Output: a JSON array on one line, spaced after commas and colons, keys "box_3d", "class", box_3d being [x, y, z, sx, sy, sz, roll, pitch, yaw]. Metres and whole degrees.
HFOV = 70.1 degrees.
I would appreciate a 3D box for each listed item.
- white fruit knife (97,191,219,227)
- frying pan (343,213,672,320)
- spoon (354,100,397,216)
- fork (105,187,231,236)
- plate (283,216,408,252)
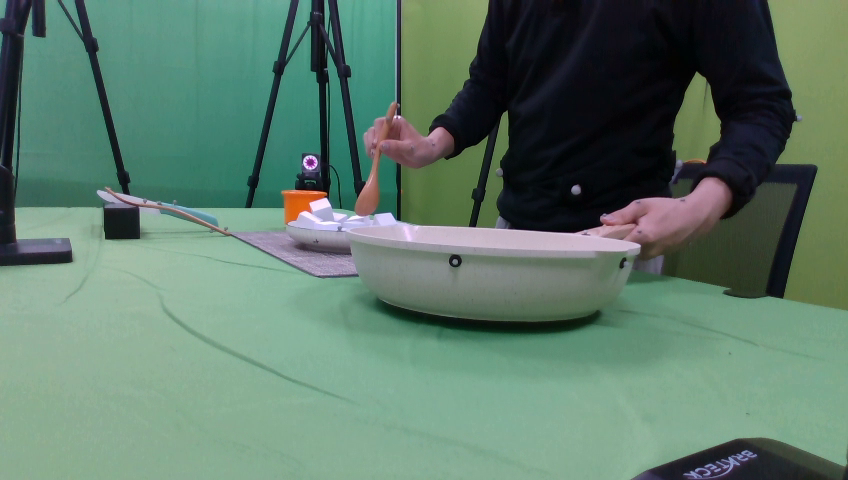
[{"box_3d": [-0.468, -0.056, 1.079, 0.208, 0.027, 0.016, 15, -2, -29], "class": "white fruit knife"}, {"box_3d": [0.145, 0.006, 0.680, 0.490, 0.102, 0.305, -11, 13, -37], "class": "frying pan"}, {"box_3d": [-0.077, -0.132, 0.976, 0.042, 0.193, 0.021, 13, 0, -42], "class": "spoon"}, {"box_3d": [-0.428, -0.046, 1.021, 0.208, 0.018, 0.028, 19, -7, -26], "class": "fork"}, {"box_3d": [-0.119, -0.010, 0.968, 0.208, 0.039, 0.207, 3, 7, 0], "class": "plate"}]
